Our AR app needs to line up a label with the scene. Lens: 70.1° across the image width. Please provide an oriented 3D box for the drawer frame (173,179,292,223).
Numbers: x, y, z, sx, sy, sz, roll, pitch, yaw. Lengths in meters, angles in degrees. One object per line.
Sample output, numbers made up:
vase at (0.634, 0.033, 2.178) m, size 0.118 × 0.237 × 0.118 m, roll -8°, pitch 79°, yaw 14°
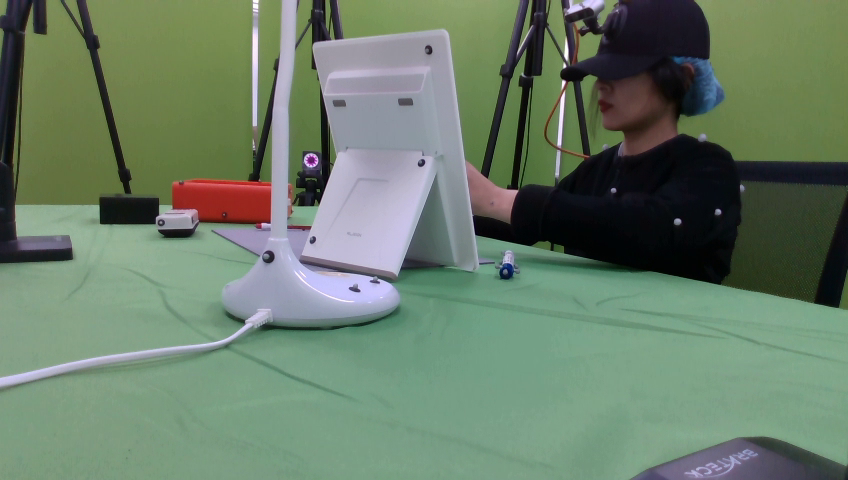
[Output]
drawer frame at (-0.400, -0.086, 1.300) m, size 0.214 × 0.082 × 0.201 m, roll 1°, pitch 8°, yaw -8°

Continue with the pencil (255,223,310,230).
pencil at (-0.216, -0.023, 1.134) m, size 0.195 × 0.012 × 0.012 m, roll 1°, pitch 7°, yaw -21°

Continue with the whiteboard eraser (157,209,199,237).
whiteboard eraser at (-0.411, -0.029, 1.016) m, size 0.056 × 0.042 × 0.112 m, roll 2°, pitch 7°, yaw -16°

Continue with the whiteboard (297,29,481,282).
whiteboard at (-0.076, -0.082, 0.741) m, size 0.216 × 0.305 × 0.144 m, roll 9°, pitch 29°, yaw 37°

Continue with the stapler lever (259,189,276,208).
stapler lever at (-0.335, -0.090, 1.300) m, size 0.027 × 0.040 × 0.118 m, roll 16°, pitch 4°, yaw -11°

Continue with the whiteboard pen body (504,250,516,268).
whiteboard pen body at (0.115, 0.031, 0.815) m, size 0.017 × 0.017 × 0.141 m, roll 4°, pitch 8°, yaw 9°

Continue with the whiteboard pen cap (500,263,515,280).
whiteboard pen cap at (0.105, 0.038, 0.758) m, size 0.018 × 0.018 × 0.033 m, roll 4°, pitch 10°, yaw 9°

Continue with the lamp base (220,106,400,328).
lamp base at (-0.101, -0.023, 0.531) m, size 0.160 × 0.180 × 0.179 m, roll 4°, pitch 10°, yaw 10°

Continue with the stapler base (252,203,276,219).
stapler base at (-0.341, -0.065, 1.301) m, size 0.041 × 0.024 × 0.130 m, roll 16°, pitch 4°, yaw -11°

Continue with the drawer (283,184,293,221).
drawer at (-0.396, -0.085, 1.301) m, size 0.212 × 0.073 × 0.194 m, roll 1°, pitch 8°, yaw -7°
